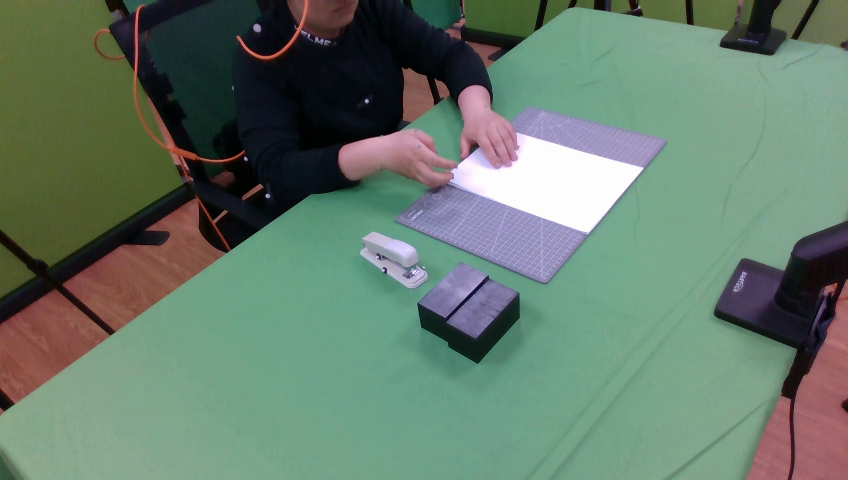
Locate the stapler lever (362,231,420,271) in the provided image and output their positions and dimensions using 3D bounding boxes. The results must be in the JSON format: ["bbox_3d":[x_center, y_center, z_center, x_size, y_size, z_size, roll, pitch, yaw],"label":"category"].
[{"bbox_3d":[-0.052,0.011,0.933,0.027,0.040,0.117,-34,45,-31],"label":"stapler lever"}]

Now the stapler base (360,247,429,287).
[{"bbox_3d":[-0.048,0.031,0.949,0.041,0.024,0.129,-34,45,-31],"label":"stapler base"}]
